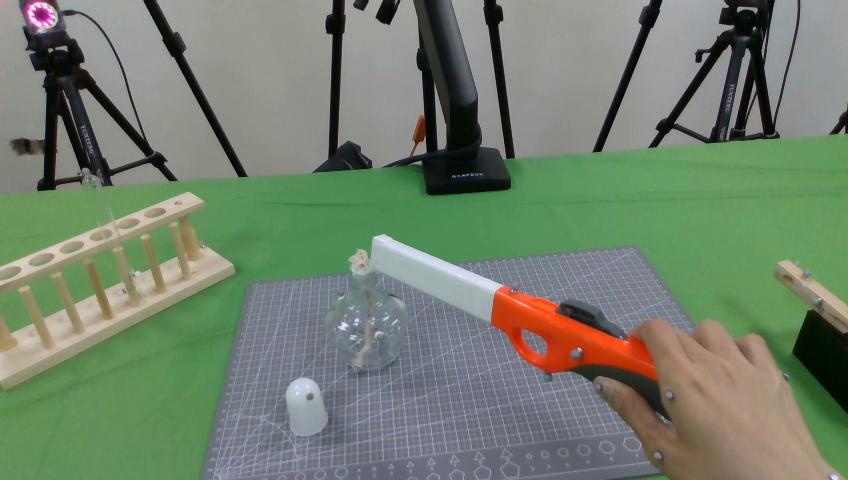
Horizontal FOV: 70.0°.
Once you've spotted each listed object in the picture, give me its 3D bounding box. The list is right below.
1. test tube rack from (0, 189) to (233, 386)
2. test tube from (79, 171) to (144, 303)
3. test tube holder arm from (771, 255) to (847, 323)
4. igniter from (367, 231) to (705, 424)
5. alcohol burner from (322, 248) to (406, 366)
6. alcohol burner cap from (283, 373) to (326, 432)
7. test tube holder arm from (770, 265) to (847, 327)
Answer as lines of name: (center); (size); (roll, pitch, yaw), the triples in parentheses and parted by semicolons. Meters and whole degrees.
test tube rack: (-0.328, 0.038, 0.622); (0.066, 0.086, 0.242); (27, 43, 36)
test tube: (-0.305, 0.000, 0.595); (0.017, 0.151, 0.017); (-2, 34, 2)
test tube holder arm: (0.354, 0.064, 0.500); (0.015, 0.013, 0.176); (-14, 33, -6)
igniter: (0.060, 0.049, 0.425); (0.274, 0.057, 0.025); (23, 28, 37)
alcohol burner: (-0.055, 0.055, 0.546); (0.078, 0.120, 0.077); (0, 35, 1)
alcohol burner cap: (-0.100, 0.131, 0.500); (0.034, 0.048, 0.033); (0, 34, 1)
test tube holder arm: (0.345, 0.047, 0.541); (0.015, 0.010, 0.087); (-14, 32, -6)
